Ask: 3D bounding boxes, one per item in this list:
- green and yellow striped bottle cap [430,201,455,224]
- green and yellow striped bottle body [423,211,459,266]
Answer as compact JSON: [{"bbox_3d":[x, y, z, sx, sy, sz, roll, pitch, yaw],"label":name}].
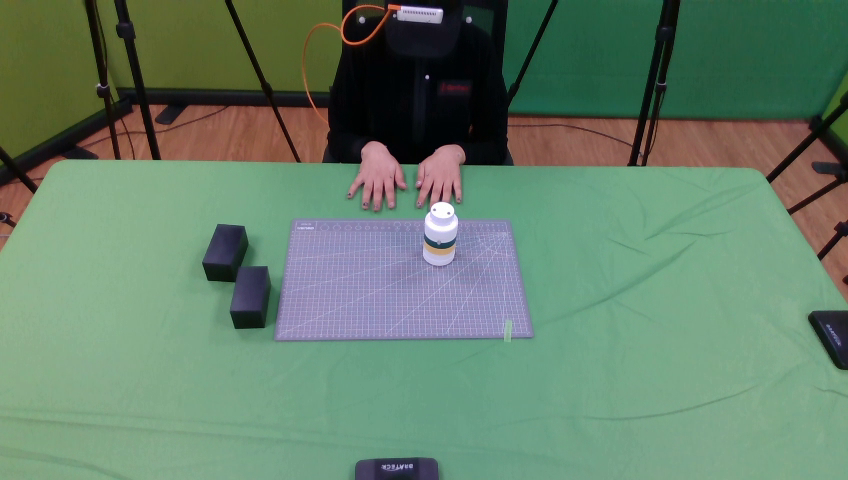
[{"bbox_3d":[0.034,-0.050,1.102,0.045,0.020,0.045,2,48,-2],"label":"green and yellow striped bottle cap"},{"bbox_3d":[0.032,-0.013,1.139,0.063,0.120,0.063,2,46,-2],"label":"green and yellow striped bottle body"}]
